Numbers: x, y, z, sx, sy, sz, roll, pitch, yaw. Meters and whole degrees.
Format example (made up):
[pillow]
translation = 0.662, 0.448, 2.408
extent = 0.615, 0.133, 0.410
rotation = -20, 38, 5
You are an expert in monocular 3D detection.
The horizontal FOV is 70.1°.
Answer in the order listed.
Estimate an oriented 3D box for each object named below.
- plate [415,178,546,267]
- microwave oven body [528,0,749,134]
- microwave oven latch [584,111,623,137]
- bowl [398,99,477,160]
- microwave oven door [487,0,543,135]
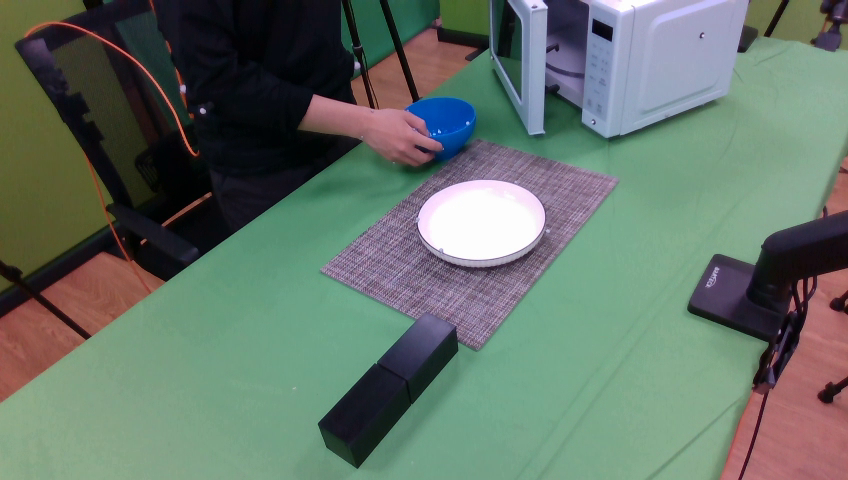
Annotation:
[plate]
translation = 0.091, -0.026, 0.970
extent = 0.207, 0.039, 0.206
rotation = -4, 41, 4
[microwave oven body]
translation = 0.382, -0.444, 1.246
extent = 0.327, 0.261, 0.437
rotation = -22, 42, -16
[microwave oven latch]
translation = 0.337, -0.222, 1.142
extent = 0.030, 0.029, 0.078
rotation = -21, 42, -14
[bowl]
translation = 0.028, -0.206, 1.167
extent = 0.151, 0.077, 0.150
rotation = -2, 37, 2
[microwave oven door]
translation = 0.180, -0.405, 1.222
extent = 0.039, 0.245, 0.353
rotation = -9, 40, -3
